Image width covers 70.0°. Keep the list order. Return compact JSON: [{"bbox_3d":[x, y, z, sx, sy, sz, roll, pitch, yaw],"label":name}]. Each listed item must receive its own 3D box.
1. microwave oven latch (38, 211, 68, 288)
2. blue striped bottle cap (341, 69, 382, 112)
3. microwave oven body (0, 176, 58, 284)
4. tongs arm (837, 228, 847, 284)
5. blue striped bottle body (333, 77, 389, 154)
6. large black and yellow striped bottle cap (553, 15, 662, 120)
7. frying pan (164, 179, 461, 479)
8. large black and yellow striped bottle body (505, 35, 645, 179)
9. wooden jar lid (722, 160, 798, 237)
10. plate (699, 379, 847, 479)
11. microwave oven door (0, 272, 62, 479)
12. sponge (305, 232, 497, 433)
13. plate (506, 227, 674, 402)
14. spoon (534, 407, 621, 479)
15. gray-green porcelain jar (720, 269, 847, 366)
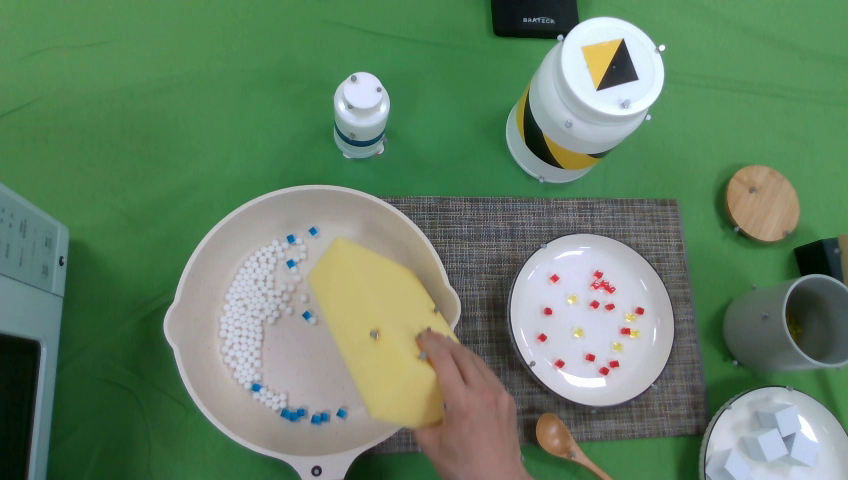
[{"bbox_3d":[-0.397,0.010,0.639,0.030,0.029,0.079,2,77,-9],"label":"microwave oven latch"},{"bbox_3d":[-0.068,-0.162,0.656,0.045,0.021,0.044,2,74,-7],"label":"blue striped bottle cap"},{"bbox_3d":[-0.523,0.159,0.484,0.327,0.260,0.439,0,78,-10],"label":"microwave oven body"},{"bbox_3d":[0.564,0.174,0.750,0.051,0.026,0.384,-6,88,-13],"label":"tongs arm"},{"bbox_3d":[-0.075,-0.151,0.706,0.063,0.121,0.063,2,76,-9],"label":"blue striped bottle body"},{"bbox_3d":[0.193,-0.182,0.636,0.115,0.019,0.114,2,75,-8],"label":"large black and yellow striped bottle cap"},{"bbox_3d":[-0.108,0.177,0.630,0.307,0.103,0.484,-2,69,-7],"label":"frying pan"},{"bbox_3d":[0.180,-0.162,0.718,0.131,0.184,0.130,2,76,-8],"label":"large black and yellow striped bottle body"},{"bbox_3d":[0.453,-0.055,0.823,0.108,0.021,0.108,2,78,-8],"label":"wooden jar lid"},{"bbox_3d":[0.426,0.274,0.733,0.208,0.039,0.206,2,77,-8],"label":"plate"},{"bbox_3d":[-0.377,0.200,0.493,0.039,0.244,0.354,0,77,-9],"label":"microwave oven door"},{"bbox_3d":[-0.030,0.088,0.607,0.119,0.204,0.061,28,106,-40],"label":"sponge"},{"bbox_3d":[0.198,0.088,0.735,0.209,0.038,0.208,2,77,-8],"label":"plate"},{"bbox_3d":[0.201,0.265,0.704,0.194,0.022,0.041,40,56,0],"label":"spoon"},{"bbox_3d":[0.432,0.098,0.729,0.106,0.127,0.105,2,76,-9],"label":"gray-green porcelain jar"}]
